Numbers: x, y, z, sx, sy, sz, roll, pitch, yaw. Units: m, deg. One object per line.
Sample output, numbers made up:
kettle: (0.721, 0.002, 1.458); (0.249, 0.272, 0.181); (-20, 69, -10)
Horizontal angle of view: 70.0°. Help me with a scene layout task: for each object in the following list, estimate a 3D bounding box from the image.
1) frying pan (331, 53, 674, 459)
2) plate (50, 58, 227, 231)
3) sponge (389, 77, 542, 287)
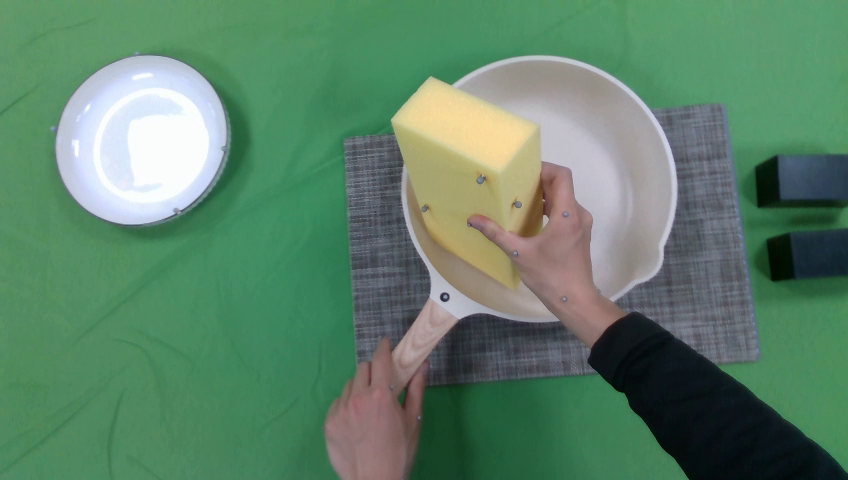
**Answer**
frying pan: (0.057, 0.023, 0.653); (0.306, 0.103, 0.487); (37, 78, 8)
plate: (-0.334, -0.111, 0.723); (0.207, 0.039, 0.207); (0, 83, 2)
sponge: (0.050, -0.048, 0.599); (0.117, 0.209, 0.061); (29, 68, 26)
